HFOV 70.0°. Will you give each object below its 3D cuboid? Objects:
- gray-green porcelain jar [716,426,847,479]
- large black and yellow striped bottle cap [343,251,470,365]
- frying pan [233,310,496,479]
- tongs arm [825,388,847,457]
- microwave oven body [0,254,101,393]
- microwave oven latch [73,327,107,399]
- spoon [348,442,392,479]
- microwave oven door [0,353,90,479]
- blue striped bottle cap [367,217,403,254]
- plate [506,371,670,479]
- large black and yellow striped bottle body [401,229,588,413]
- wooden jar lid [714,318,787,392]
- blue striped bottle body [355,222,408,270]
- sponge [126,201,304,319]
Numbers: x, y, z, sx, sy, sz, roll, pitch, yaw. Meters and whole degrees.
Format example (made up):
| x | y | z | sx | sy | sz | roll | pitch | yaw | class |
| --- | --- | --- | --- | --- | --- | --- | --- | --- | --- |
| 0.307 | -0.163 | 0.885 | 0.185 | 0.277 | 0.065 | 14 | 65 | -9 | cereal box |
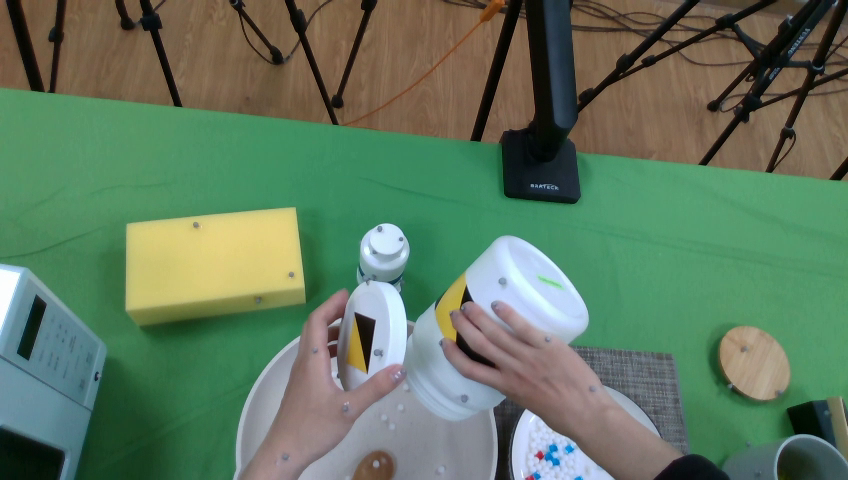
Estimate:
| x | y | z | sx | sy | sz | roll | pitch | yaw | class |
| --- | --- | --- | --- | --- | --- | --- | --- | --- | --- |
| 0.435 | 0.292 | 0.745 | 0.106 | 0.127 | 0.105 | 4 | 64 | -8 | gray-green porcelain jar |
| -0.016 | 0.060 | 0.552 | 0.115 | 0.019 | 0.114 | 7 | 51 | -8 | large black and yellow striped bottle cap |
| -0.024 | 0.308 | 0.662 | 0.307 | 0.103 | 0.483 | -17 | 61 | -17 | frying pan |
| 0.561 | 0.378 | 0.746 | 0.051 | 0.026 | 0.382 | 1 | 75 | -12 | tongs arm |
| -0.524 | 0.242 | 0.512 | 0.327 | 0.261 | 0.438 | 6 | 65 | -8 | microwave oven body |
| -0.387 | 0.140 | 0.694 | 0.030 | 0.029 | 0.078 | 6 | 65 | -8 | microwave oven latch |
| -0.099 | 0.290 | 0.662 | 0.041 | 0.022 | 0.193 | 44 | 39 | 9 | spoon |
| -0.381 | 0.292 | 0.509 | 0.039 | 0.245 | 0.353 | 5 | 64 | -8 | microwave oven door |
| -0.048 | -0.005 | 0.741 | 0.045 | 0.021 | 0.044 | 4 | 61 | -6 | blue striped bottle cap |
| 0.201 | 0.270 | 0.758 | 0.209 | 0.038 | 0.207 | 4 | 65 | -8 | plate |
| 0.069 | 0.093 | 0.661 | 0.131 | 0.184 | 0.129 | 36 | 23 | -18 | large black and yellow striped bottle body |
| 0.466 | 0.165 | 0.870 | 0.108 | 0.021 | 0.107 | 4 | 66 | -8 | wooden jar lid |
| -0.056 | 0.016 | 0.788 | 0.063 | 0.121 | 0.062 | 4 | 64 | -8 | blue striped bottle body |
| -0.264 | 0.024 | 0.779 | 0.207 | 0.061 | 0.117 | -7 | 67 | -14 | sponge |
